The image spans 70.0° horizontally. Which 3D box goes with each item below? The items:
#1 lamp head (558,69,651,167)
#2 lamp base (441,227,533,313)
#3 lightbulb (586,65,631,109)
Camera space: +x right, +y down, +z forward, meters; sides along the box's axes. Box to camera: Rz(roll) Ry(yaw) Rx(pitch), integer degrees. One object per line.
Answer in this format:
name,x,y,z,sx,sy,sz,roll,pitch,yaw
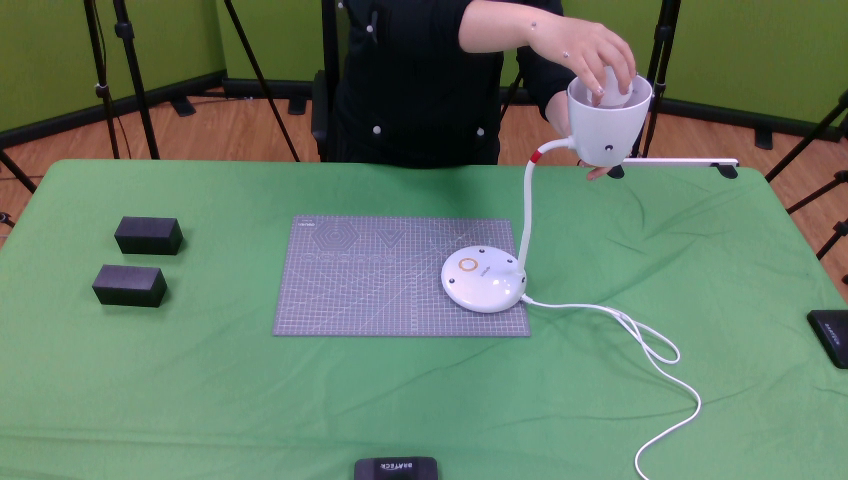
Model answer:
lamp head,0.251,-0.164,0.860,0.112,0.123,0.111,0,42,0
lamp base,0.126,0.022,1.071,0.179,0.181,0.160,23,49,14
lightbulb,0.255,-0.190,0.844,0.059,0.108,0.059,-5,38,4
